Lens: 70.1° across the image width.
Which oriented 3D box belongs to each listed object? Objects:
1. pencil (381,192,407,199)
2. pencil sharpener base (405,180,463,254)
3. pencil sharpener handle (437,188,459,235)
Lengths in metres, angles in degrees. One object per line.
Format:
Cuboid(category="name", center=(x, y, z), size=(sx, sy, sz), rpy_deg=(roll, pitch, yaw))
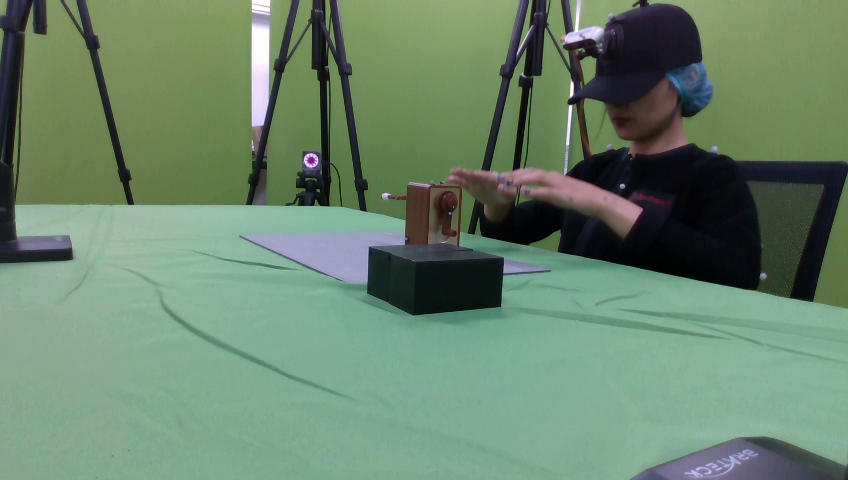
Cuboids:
Cuboid(category="pencil", center=(-0.026, -0.070, 0.993), size=(0.012, 0.012, 0.193), rpy_deg=(-2, 7, -29))
Cuboid(category="pencil sharpener base", center=(0.016, -0.036, 0.922), size=(0.061, 0.107, 0.076), rpy_deg=(-2, 9, -30))
Cuboid(category="pencil sharpener handle", center=(0.041, -0.041, 0.876), size=(0.036, 0.067, 0.030), rpy_deg=(2, 7, -31))
